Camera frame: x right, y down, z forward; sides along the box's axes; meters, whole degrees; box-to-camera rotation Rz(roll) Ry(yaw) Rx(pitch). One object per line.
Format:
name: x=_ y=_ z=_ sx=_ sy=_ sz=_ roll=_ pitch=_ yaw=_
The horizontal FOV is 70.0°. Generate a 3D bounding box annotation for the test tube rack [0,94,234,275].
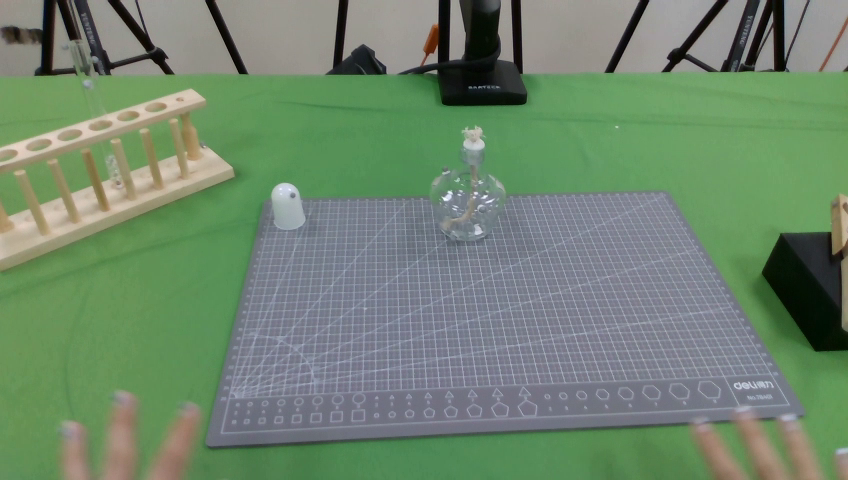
test tube rack: x=-0.327 y=-0.065 z=0.618 sx=0.242 sy=0.086 sz=0.066 roll=-29 pitch=49 yaw=-32

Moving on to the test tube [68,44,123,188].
test tube: x=-0.326 y=-0.119 z=0.607 sx=0.017 sy=0.151 sz=0.017 roll=1 pitch=34 yaw=0

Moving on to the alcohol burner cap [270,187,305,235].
alcohol burner cap: x=-0.140 y=-0.032 z=0.616 sx=0.034 sy=0.048 sz=0.033 roll=2 pitch=41 yaw=-1

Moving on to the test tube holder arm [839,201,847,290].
test tube holder arm: x=0.368 y=0.019 z=0.522 sx=0.013 sy=0.015 sz=0.177 roll=17 pitch=43 yaw=15

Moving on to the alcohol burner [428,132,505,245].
alcohol burner: x=0.043 y=-0.054 z=0.593 sx=0.078 sy=0.120 sz=0.077 roll=2 pitch=41 yaw=-1

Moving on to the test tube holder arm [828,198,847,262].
test tube holder arm: x=0.380 y=-0.009 z=0.555 sx=0.010 sy=0.015 sz=0.087 roll=18 pitch=43 yaw=17
